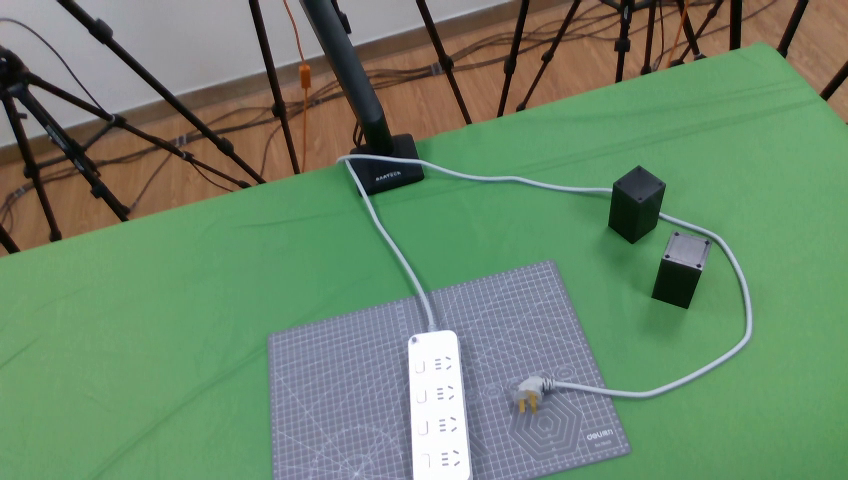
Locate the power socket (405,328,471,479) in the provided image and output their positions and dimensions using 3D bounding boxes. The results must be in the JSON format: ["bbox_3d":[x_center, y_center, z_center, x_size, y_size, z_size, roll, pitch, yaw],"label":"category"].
[{"bbox_3d":[0.016,0.217,0.795,0.072,0.033,0.224,-8,54,5],"label":"power socket"}]

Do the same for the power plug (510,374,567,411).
[{"bbox_3d":[0.146,0.194,0.779,0.072,0.035,0.052,-14,34,16],"label":"power plug"}]
